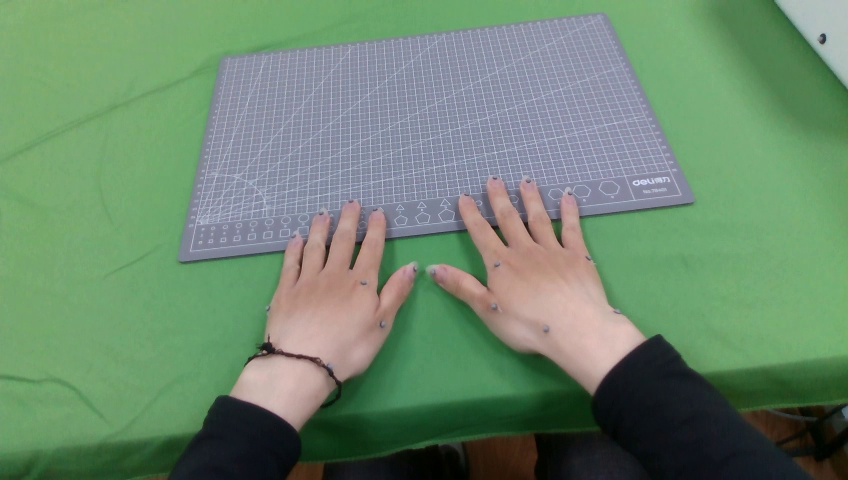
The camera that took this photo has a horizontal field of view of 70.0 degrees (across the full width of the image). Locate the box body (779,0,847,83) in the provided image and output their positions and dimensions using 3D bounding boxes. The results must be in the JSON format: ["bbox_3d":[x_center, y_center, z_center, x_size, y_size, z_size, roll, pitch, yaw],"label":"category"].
[{"bbox_3d":[0.513,-0.262,0.568,0.254,0.162,0.360,-7,52,0],"label":"box body"}]
